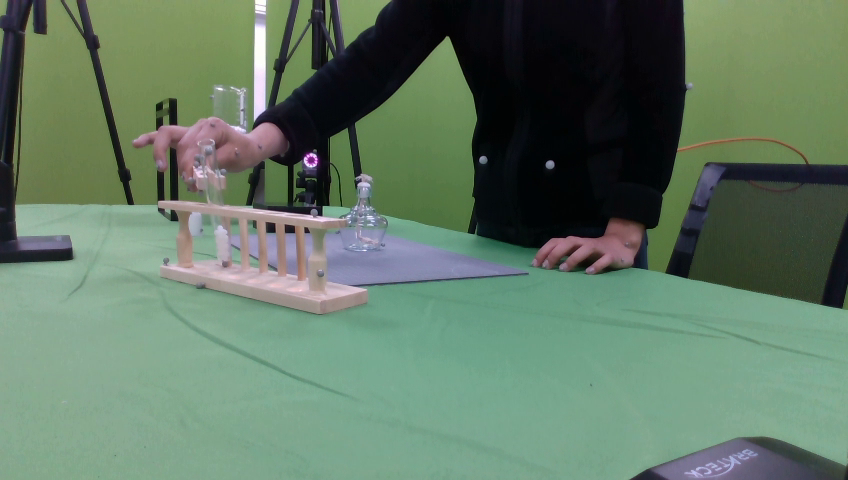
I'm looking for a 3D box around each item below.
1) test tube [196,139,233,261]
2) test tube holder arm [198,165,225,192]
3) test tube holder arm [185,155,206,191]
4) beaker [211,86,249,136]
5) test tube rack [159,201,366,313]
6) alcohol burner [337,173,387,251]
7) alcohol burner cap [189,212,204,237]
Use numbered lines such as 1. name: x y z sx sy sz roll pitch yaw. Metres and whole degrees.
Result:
1. test tube: -0.216 -0.037 0.628 0.017 0.150 0.017 3 40 -2
2. test tube holder arm: -0.238 -0.068 0.664 0.010 0.015 0.087 2 15 -39
3. test tube holder arm: -0.265 -0.081 0.697 0.013 0.015 0.177 6 13 -28
4. beaker: -0.413 -0.274 1.297 0.074 0.100 0.083 -5 11 -44
5. test tube rack: -0.173 0.009 0.624 0.241 0.085 0.067 7 9 34
6. alcohol burner: -0.095 -0.043 0.926 0.078 0.119 0.078 3 6 0
7. alcohol burner cap: -0.390 -0.029 1.025 0.034 0.048 0.034 2 8 0
